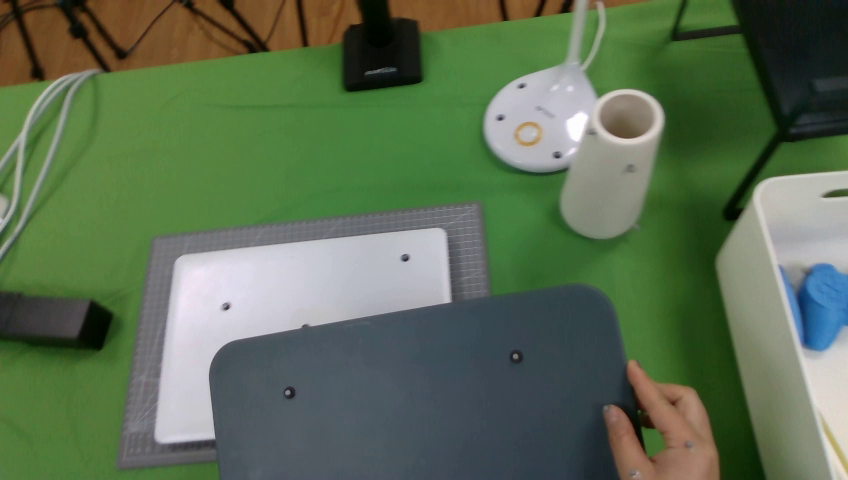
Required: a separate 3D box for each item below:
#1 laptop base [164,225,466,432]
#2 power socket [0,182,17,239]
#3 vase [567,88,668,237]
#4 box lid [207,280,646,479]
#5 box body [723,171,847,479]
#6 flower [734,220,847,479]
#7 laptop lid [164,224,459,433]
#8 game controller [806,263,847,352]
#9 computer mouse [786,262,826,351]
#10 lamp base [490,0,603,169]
[{"bbox_3d":[-0.132,0.103,0.741,0.354,0.023,0.233,-5,67,4],"label":"laptop base"},{"bbox_3d":[-0.632,0.015,0.831,0.072,0.033,0.225,2,64,7],"label":"power socket"},{"bbox_3d":[0.218,-0.083,0.689,0.098,0.202,0.097,-3,63,7],"label":"vase"},{"bbox_3d":[-0.011,0.188,0.510,0.371,0.015,0.262,-11,82,13],"label":"box lid"},{"bbox_3d":[0.466,0.126,0.582,0.254,0.162,0.361,-4,64,5],"label":"box body"},{"bbox_3d":[0.401,0.148,0.628,0.044,0.038,0.359,2,69,-39],"label":"flower"},{"bbox_3d":[-0.133,0.101,0.729,0.356,0.013,0.240,-4,67,5],"label":"laptop lid"},{"bbox_3d":[0.502,0.070,0.664,0.155,0.052,0.096,-3,63,4],"label":"game controller"},{"bbox_3d":[0.397,0.071,0.677,0.063,0.041,0.116,-9,55,6],"label":"computer mouse"},{"bbox_3d":[0.168,-0.210,0.766,0.160,0.182,0.178,27,68,18],"label":"lamp base"}]
